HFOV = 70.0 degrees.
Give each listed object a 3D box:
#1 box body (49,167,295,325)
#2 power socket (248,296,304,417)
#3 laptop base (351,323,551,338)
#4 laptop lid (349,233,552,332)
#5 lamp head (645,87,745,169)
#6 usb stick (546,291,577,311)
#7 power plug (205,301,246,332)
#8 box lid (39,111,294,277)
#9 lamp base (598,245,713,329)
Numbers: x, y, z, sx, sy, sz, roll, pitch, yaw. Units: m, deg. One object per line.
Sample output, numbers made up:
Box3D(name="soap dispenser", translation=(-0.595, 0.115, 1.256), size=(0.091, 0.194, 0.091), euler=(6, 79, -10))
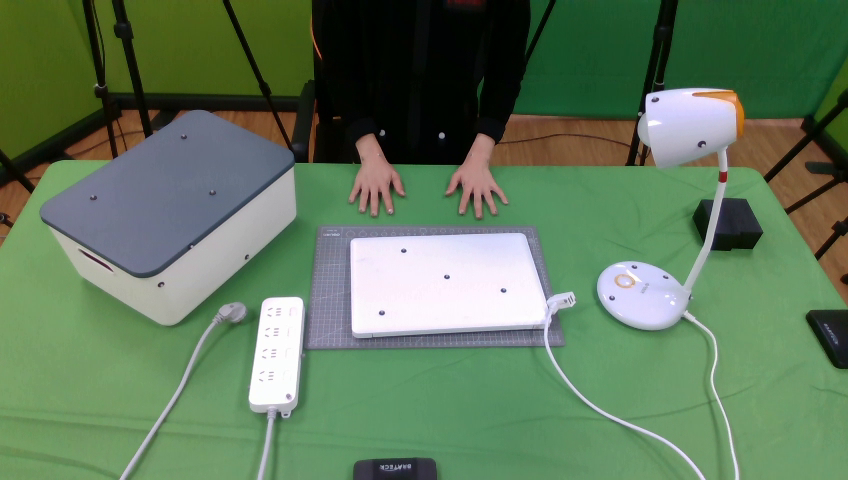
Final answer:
Box3D(name="box body", translation=(-0.437, -0.046, 1.110), size=(0.253, 0.161, 0.363), euler=(24, 49, 19))
Box3D(name="power socket", translation=(-0.240, 0.182, 0.996), size=(0.072, 0.033, 0.225), euler=(-2, 47, -4))
Box3D(name="laptop base", translation=(0.040, 0.080, 1.125), size=(0.355, 0.023, 0.234), euler=(-2, 43, -6))
Box3D(name="laptop lid", translation=(0.040, 0.070, 1.119), size=(0.357, 0.013, 0.240), euler=(-1, 44, -5))
Box3D(name="lamp head", translation=(0.382, -0.161, 0.852), size=(0.122, 0.113, 0.112), euler=(-4, 42, 25))
Box3D(name="usb stick", translation=(0.241, 0.111, 1.086), size=(0.027, 0.059, 0.021), euler=(-36, 102, -42))
Box3D(name="power plug", translation=(-0.337, 0.132, 1.032), size=(0.072, 0.053, 0.035), euler=(-34, 58, -11))
Box3D(name="box lid", translation=(-0.434, -0.097, 1.055), size=(0.262, 0.015, 0.370), euler=(25, 49, 18))
Box3D(name="lamp base", translation=(0.420, 0.051, 1.071), size=(0.179, 0.181, 0.160), euler=(22, 49, 13))
